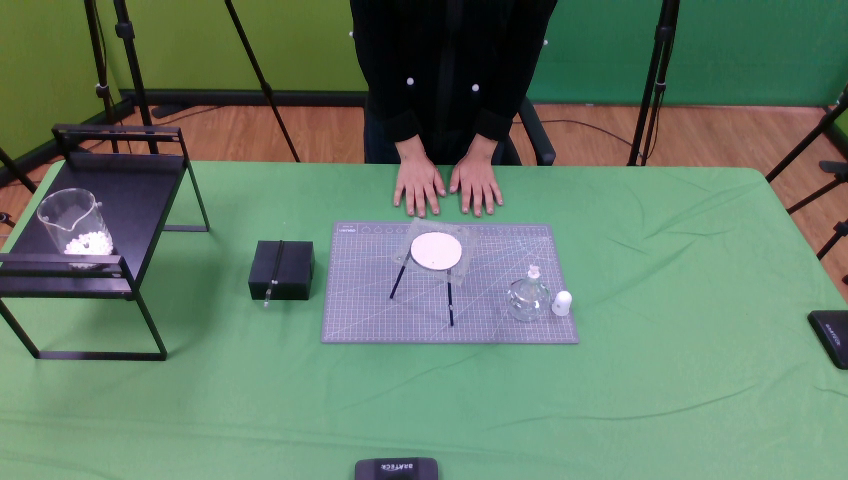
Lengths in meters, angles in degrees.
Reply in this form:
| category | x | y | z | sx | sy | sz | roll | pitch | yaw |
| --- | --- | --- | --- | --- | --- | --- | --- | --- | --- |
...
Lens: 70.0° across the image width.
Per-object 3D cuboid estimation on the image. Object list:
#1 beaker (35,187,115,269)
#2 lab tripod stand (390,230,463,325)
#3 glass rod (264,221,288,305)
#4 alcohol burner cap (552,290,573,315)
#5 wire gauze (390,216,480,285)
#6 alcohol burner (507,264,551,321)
| category | x | y | z | sx | sy | sz | roll | pitch | yaw |
| --- | --- | --- | --- | --- | --- | --- | --- | --- | --- |
| beaker | -0.494 | -0.012 | 0.867 | 0.074 | 0.101 | 0.083 | -17 | 50 | -18 |
| lab tripod stand | 0.014 | 0.060 | 1.056 | 0.148 | 0.132 | 0.147 | 1 | 48 | -1 |
| glass rod | -0.263 | 0.037 | 1.083 | 0.008 | 0.008 | 0.198 | 3 | 46 | -1 |
| alcohol burner cap | 0.250 | 0.109 | 1.088 | 0.034 | 0.048 | 0.033 | 4 | 47 | -4 |
| wire gauze | 0.020 | 0.012 | 1.009 | 0.125 | 0.011 | 0.121 | 16 | 47 | 12 |
| alcohol burner | 0.185 | 0.086 | 1.056 | 0.078 | 0.120 | 0.077 | 1 | 46 | -1 |
